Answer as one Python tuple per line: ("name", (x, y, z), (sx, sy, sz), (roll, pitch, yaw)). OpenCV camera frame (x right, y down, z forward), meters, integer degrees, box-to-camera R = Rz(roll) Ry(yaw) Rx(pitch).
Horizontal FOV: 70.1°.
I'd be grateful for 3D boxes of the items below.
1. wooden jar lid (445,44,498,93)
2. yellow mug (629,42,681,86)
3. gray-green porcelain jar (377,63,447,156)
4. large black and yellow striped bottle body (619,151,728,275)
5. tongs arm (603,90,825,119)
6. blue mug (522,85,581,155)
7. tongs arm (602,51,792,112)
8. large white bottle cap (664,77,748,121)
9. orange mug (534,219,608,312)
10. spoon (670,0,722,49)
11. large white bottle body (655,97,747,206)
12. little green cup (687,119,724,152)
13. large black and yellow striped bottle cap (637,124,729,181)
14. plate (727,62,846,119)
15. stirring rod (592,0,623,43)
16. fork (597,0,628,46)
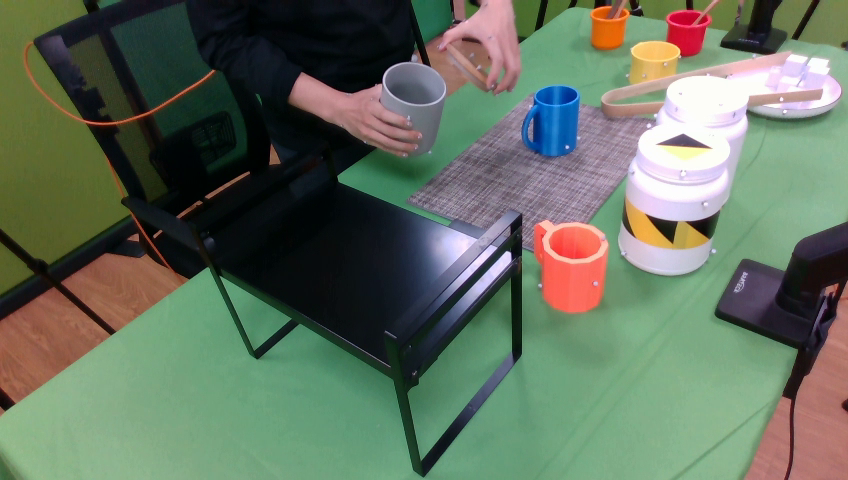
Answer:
("wooden jar lid", (0.076, -0.281, 1.002), (0.020, 0.109, 0.107), (-48, 38, 20))
("yellow mug", (0.495, -0.389, 1.322), (0.100, 0.064, 0.130), (-14, 40, -6))
("gray-green porcelain jar", (-0.023, -0.213, 1.017), (0.106, 0.126, 0.105), (6, 54, -7))
("large black and yellow striped bottle body", (0.354, -0.056, 0.865), (0.131, 0.185, 0.130), (-4, 41, 4))
("tongs arm", (0.546, -0.262, 1.163), (0.386, 0.028, 0.028), (-1, 49, 18))
("blue mug", (0.233, -0.218, 1.127), (0.117, 0.106, 0.081), (-23, 43, -16))
("tongs arm", (0.552, -0.319, 1.224), (0.384, 0.027, 0.050), (-10, 44, 7))
("large white bottle cap", (0.421, -0.212, 0.905), (0.115, 0.018, 0.114), (-4, 40, 4))
("orange mug", (0.200, 0.027, 0.858), (0.084, 0.101, 0.125), (-24, 47, -18))
("spoon", (0.639, -0.510, 1.380), (0.193, 0.022, 0.041), (-49, 40, 19))
("large white bottle body", (0.431, -0.148, 0.959), (0.130, 0.185, 0.130), (-4, 41, 4))
("little green cup", (0.514, -0.191, 1.109), (0.061, 0.039, 0.061), (-5, 40, 5))
("large black and yellow striped bottle cap", (0.346, -0.119, 0.810), (0.115, 0.019, 0.114), (-5, 41, 5))
("plate", (0.709, -0.292, 1.197), (0.207, 0.039, 0.206), (-4, 40, 4))
("stirring rod", (0.460, -0.557, 1.461), (0.014, 0.176, 0.006), (35, 11, 23))
("fork", (0.479, -0.558, 1.455), (0.028, 0.019, 0.207), (35, 100, 38))
